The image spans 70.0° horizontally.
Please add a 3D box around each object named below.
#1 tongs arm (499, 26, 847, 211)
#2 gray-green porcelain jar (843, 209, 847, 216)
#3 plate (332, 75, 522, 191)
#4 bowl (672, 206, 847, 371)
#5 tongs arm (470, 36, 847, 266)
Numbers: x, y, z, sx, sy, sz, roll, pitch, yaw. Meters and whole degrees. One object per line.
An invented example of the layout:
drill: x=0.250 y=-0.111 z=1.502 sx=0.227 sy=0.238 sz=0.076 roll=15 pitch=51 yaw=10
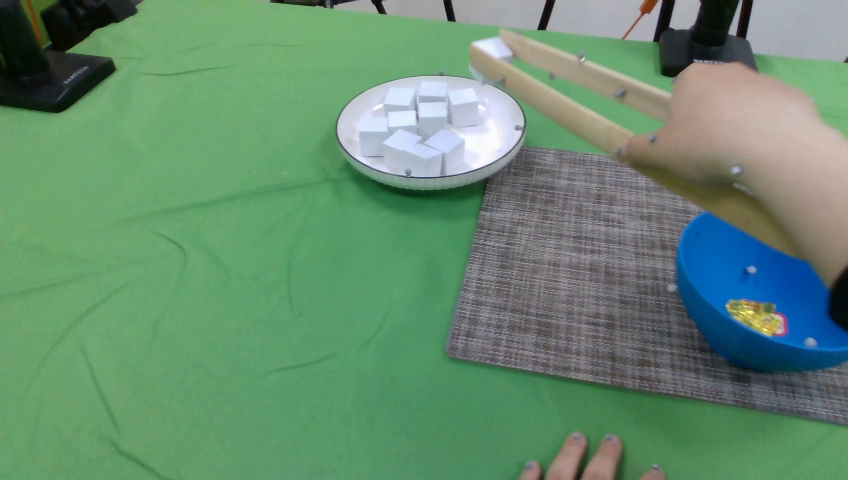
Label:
tongs arm: x=0.156 y=-0.099 z=0.454 sx=0.051 sy=0.027 sz=0.380 roll=-26 pitch=41 yaw=-20
gray-green porcelain jar: x=0.452 y=-0.064 z=0.544 sx=0.106 sy=0.127 sz=0.105 roll=0 pitch=44 yaw=1
plate: x=0.003 y=-0.117 z=0.671 sx=0.209 sy=0.038 sz=0.207 roll=-1 pitch=43 yaw=1
bowl: x=0.260 y=0.047 z=0.465 sx=0.151 sy=0.077 sz=0.150 roll=0 pitch=44 yaw=0
tongs arm: x=0.135 y=-0.089 z=0.447 sx=0.028 sy=0.028 sz=0.383 roll=-21 pitch=40 yaw=-18
